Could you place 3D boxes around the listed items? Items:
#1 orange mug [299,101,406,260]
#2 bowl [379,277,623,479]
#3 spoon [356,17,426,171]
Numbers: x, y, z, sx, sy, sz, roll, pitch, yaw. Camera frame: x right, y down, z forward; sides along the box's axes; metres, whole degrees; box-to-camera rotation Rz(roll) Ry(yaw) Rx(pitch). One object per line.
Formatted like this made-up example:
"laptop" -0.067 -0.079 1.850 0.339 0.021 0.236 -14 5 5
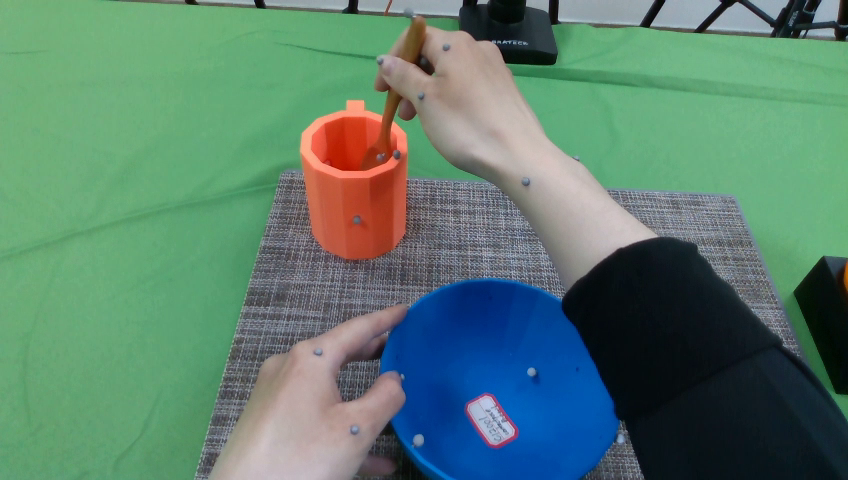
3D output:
"orange mug" -0.060 -0.060 0.528 0.083 0.101 0.125 -2 53 -5
"bowl" 0.045 0.107 0.401 0.151 0.077 0.150 2 48 -2
"spoon" -0.027 -0.092 0.464 0.021 0.194 0.041 -27 73 -24
